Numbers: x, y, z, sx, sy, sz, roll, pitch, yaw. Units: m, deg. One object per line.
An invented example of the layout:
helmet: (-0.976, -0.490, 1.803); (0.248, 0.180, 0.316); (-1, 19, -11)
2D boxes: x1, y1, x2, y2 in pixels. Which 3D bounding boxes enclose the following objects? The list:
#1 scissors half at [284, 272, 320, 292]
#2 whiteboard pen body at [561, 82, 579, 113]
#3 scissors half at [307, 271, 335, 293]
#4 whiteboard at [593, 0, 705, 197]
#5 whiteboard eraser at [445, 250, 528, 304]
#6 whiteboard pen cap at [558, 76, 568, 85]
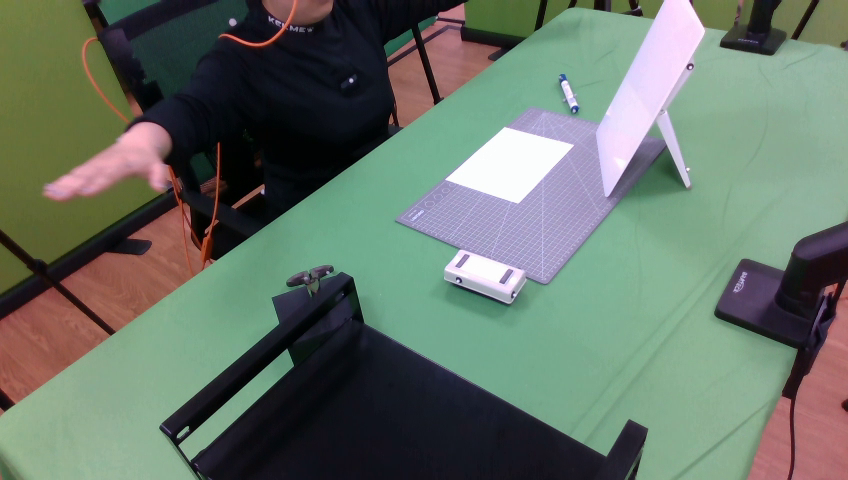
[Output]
scissors half: (-0.171, 0.063, 0.868); (0.040, 0.013, 0.174); (-11, 7, -22)
whiteboard pen body: (0.310, -0.311, 1.297); (0.017, 0.017, 0.140); (-6, 41, 3)
scissors half: (-0.152, 0.061, 0.872); (0.040, 0.013, 0.175); (-3, 5, -4)
whiteboard: (0.421, -0.227, 1.009); (0.144, 0.305, 0.216); (17, 41, -3)
whiteboard eraser: (0.090, 0.056, 0.882); (0.112, 0.042, 0.056); (18, 44, 27)
whiteboard pen cap: (0.309, -0.350, 1.340); (0.018, 0.018, 0.033); (-6, 41, 2)
